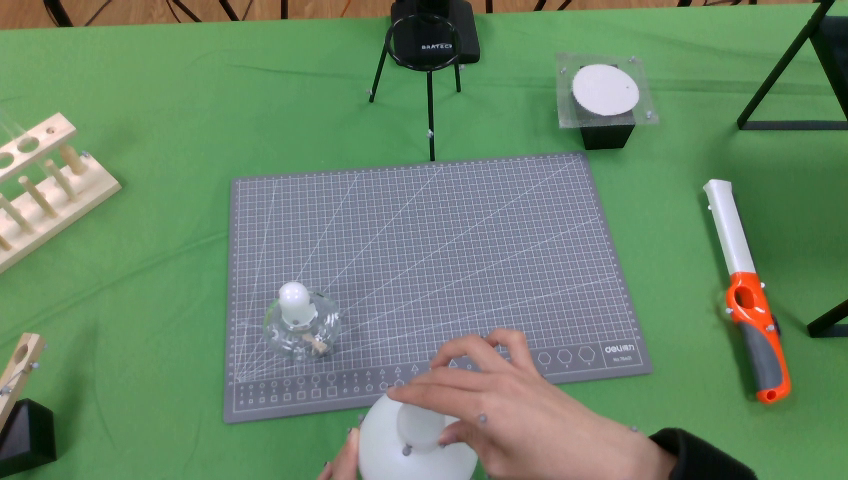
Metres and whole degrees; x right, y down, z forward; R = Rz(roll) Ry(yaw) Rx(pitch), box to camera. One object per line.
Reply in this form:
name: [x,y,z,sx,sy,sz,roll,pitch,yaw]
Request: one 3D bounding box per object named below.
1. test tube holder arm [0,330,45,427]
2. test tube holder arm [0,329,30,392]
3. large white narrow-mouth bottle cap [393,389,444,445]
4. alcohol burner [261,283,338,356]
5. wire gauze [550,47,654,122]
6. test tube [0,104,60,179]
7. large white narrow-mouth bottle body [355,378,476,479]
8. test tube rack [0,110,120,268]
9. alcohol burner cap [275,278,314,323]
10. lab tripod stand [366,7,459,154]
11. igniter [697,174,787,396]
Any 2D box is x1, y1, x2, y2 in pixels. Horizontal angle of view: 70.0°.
test tube holder arm: [-0.388,0.166,0.543,0.013,0.015,0.177,7,62,6]
test tube holder arm: [-0.387,0.126,0.564,0.010,0.015,0.087,5,62,5]
large white narrow-mouth bottle cap: [-0.004,0.126,0.432,0.038,0.024,0.037,1,61,-2]
alcohol burner: [-0.126,0.072,0.604,0.078,0.120,0.077,2,60,-4]
wire gauze: [0.225,-0.199,0.776,0.121,0.011,0.124,2,61,-2]
test tube: [-0.435,-0.112,0.648,0.017,0.151,0.017,0,60,1]
large white narrow-mouth bottle body: [-0.008,0.173,0.514,0.102,0.196,0.101,1,61,-2]
test tube rack: [-0.470,-0.030,0.658,0.066,0.086,0.242,40,67,17]
alcohol burner cap: [-0.124,0.055,0.572,0.034,0.048,0.033,0,57,0]
lab tripod stand: [-0.004,-0.202,0.750,0.148,0.132,0.147,2,62,-4]
igniter: [0.363,0.043,0.698,0.057,0.025,0.274,5,61,-12]
